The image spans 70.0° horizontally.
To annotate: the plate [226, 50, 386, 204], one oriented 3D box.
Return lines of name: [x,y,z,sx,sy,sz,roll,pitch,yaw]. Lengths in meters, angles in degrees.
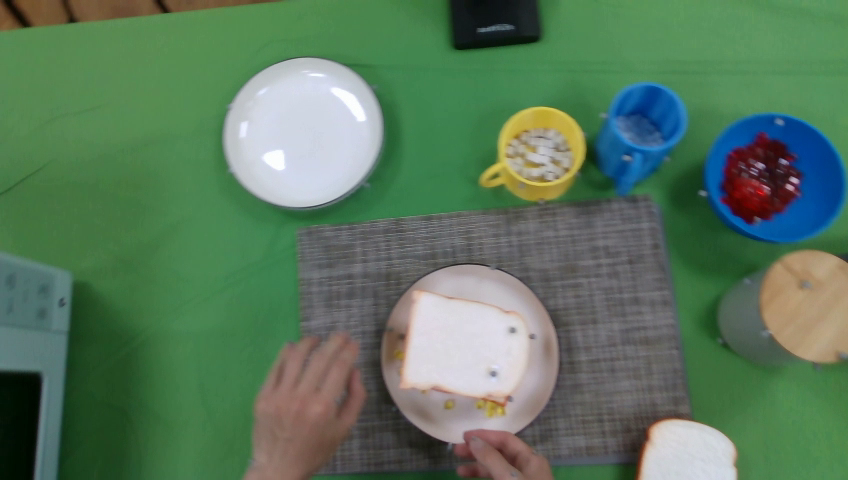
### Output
plate: [-0.150,-0.144,0.787,0.207,0.039,0.206,-1,78,4]

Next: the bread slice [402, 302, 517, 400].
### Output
bread slice: [0.039,0.126,0.715,0.131,0.019,0.104,8,79,1]

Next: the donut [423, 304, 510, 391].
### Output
donut: [0.048,0.121,0.686,0.099,0.048,0.099,0,87,0]

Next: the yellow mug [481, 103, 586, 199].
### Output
yellow mug: [0.129,-0.101,0.741,0.131,0.064,0.099,-25,76,0]

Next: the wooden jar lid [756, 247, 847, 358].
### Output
wooden jar lid: [0.378,0.061,0.591,0.108,0.021,0.108,0,80,2]

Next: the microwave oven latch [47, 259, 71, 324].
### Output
microwave oven latch: [-0.458,0.064,0.747,0.030,0.029,0.079,0,78,4]

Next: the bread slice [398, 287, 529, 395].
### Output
bread slice: [0.045,0.110,0.652,0.134,0.018,0.106,6,85,0]

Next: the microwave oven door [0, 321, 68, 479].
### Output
microwave oven door: [-0.461,0.255,0.602,0.039,0.245,0.354,-3,77,4]

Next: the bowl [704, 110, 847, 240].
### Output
bowl: [0.394,-0.066,0.707,0.151,0.077,0.150,-1,78,5]

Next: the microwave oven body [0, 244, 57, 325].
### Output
microwave oven body: [-0.607,0.223,0.625,0.326,0.261,0.439,-3,78,4]

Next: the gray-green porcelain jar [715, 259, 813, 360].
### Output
gray-green porcelain jar: [0.384,0.075,0.652,0.106,0.127,0.105,-1,77,4]

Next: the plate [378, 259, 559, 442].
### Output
plate: [0.052,0.127,0.708,0.209,0.038,0.208,-1,78,4]

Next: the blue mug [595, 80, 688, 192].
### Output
blue mug: [0.248,-0.112,0.715,0.082,0.106,0.116,16,79,8]
